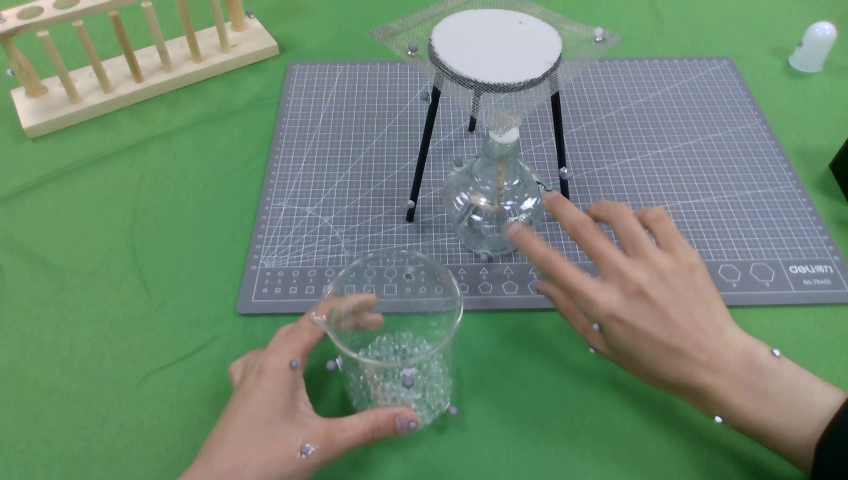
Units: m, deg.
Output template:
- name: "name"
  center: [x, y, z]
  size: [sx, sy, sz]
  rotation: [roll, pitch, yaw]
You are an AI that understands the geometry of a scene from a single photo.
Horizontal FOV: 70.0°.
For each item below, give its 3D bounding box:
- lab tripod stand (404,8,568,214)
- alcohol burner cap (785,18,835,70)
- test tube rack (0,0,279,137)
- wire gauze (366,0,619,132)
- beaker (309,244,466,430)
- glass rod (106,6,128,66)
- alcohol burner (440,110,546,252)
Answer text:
- name: "lab tripod stand"
  center: [0.049, -0.090, 0.453]
  size: [0.148, 0.132, 0.147]
  rotation: [1, 50, -1]
- name: "alcohol burner cap"
  center: [0.386, -0.197, 0.602]
  size: [0.034, 0.048, 0.033]
  rotation: [0, 51, 0]
- name: "test tube rack"
  center: [-0.269, -0.190, 0.567]
  size: [0.242, 0.086, 0.066]
  rotation: [-26, 56, -20]
- name: "wire gauze"
  center: [0.045, -0.130, 0.399]
  size: [0.121, 0.011, 0.124]
  rotation: [-36, 60, -26]
- name: "beaker"
  center: [-0.019, 0.063, 0.357]
  size: [0.084, 0.101, 0.073]
  rotation: [-5, 51, -4]
- name: "glass rod"
  center: [-0.279, -0.232, 0.515]
  size: [0.008, 0.201, 0.008]
  rotation: [3, 51, -4]
- name: "alcohol burner"
  center: [0.050, -0.046, 0.430]
  size: [0.078, 0.120, 0.077]
  rotation: [1, 53, 0]
